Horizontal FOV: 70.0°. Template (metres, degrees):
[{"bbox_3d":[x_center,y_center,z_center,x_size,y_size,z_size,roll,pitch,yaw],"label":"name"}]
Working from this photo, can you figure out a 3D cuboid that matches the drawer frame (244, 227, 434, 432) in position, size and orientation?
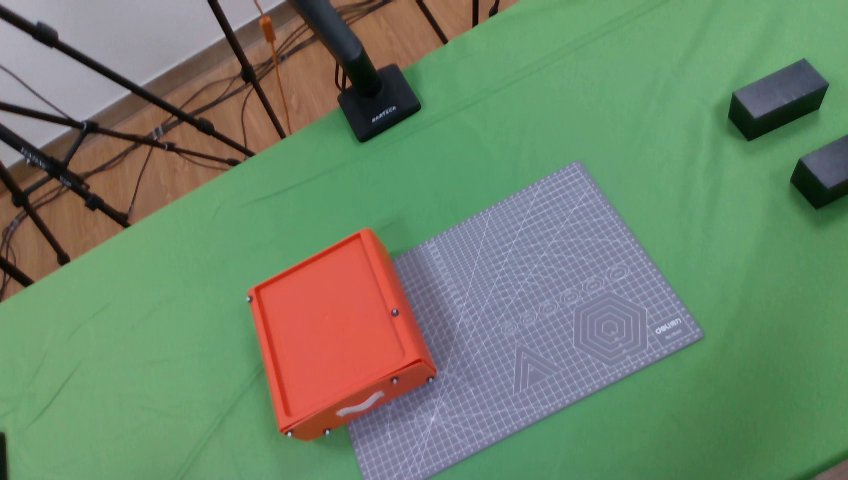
[{"bbox_3d":[-0.120,0.123,0.816,0.201,0.083,0.211,-29,58,5],"label":"drawer frame"}]

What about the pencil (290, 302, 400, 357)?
[{"bbox_3d":[-0.112,0.123,0.839,0.192,0.012,0.012,20,73,26],"label":"pencil"}]

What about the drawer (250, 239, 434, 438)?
[{"bbox_3d":[-0.116,0.127,0.814,0.194,0.074,0.209,-28,58,5],"label":"drawer"}]
